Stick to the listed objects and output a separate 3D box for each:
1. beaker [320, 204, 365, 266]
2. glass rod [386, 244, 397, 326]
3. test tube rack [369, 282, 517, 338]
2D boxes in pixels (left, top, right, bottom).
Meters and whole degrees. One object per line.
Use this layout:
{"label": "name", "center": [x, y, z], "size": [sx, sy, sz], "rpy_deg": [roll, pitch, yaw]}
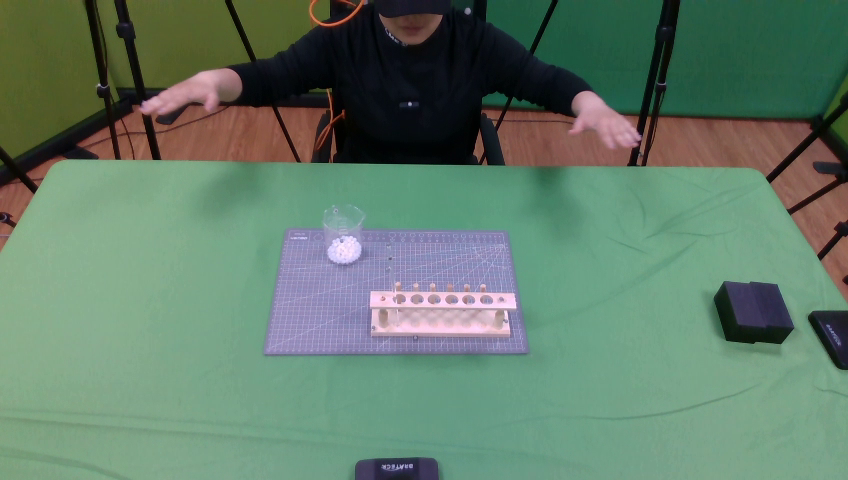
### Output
{"label": "beaker", "center": [-0.151, -0.008, 1.137], "size": [0.084, 0.101, 0.073], "rpy_deg": [-12, 49, -16]}
{"label": "glass rod", "center": [-0.052, 0.077, 0.979], "size": [0.008, 0.201, 0.008], "rpy_deg": [-1, 45, 1]}
{"label": "test tube rack", "center": [0.030, 0.116, 1.041], "size": [0.242, 0.085, 0.066], "rpy_deg": [1, 46, -3]}
